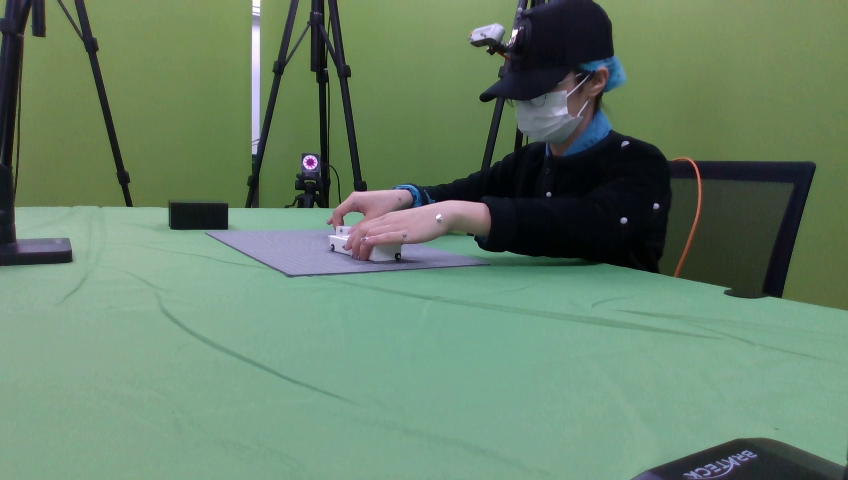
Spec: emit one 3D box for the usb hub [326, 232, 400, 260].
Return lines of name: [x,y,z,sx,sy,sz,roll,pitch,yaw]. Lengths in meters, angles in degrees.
usb hub: [-0.092,0.007,0.892,0.050,0.025,0.124,-5,10,-41]

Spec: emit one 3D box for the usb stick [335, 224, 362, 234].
usb stick: [-0.135,-0.013,1.041,0.021,0.027,0.059,13,16,42]
